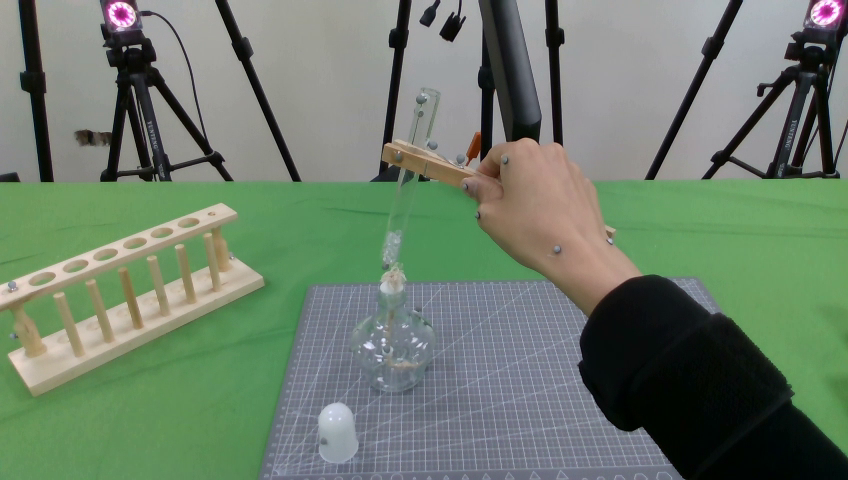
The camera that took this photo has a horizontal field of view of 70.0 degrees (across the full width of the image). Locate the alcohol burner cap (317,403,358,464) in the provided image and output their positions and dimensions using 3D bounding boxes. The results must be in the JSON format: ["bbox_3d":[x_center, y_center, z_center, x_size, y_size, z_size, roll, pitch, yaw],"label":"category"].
[{"bbox_3d":[-0.072,0.152,0.487,0.034,0.048,0.033,0,31,0],"label":"alcohol burner cap"}]

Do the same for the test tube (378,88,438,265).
[{"bbox_3d":[-0.014,-0.044,0.467,0.017,0.151,0.017,12,30,-7],"label":"test tube"}]

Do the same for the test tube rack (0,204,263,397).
[{"bbox_3d":[-0.293,0.051,0.619,0.066,0.086,0.242,27,41,37],"label":"test tube rack"}]

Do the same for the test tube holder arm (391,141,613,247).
[{"bbox_3d":[0.050,-0.036,0.437,0.177,0.015,0.013,24,34,20],"label":"test tube holder arm"}]

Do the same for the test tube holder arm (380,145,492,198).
[{"bbox_3d":[0.009,-0.051,0.446,0.087,0.015,0.010,20,32,13],"label":"test tube holder arm"}]

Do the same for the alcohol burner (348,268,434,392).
[{"bbox_3d":[-0.029,0.077,0.541,0.078,0.120,0.077,0,30,0],"label":"alcohol burner"}]
